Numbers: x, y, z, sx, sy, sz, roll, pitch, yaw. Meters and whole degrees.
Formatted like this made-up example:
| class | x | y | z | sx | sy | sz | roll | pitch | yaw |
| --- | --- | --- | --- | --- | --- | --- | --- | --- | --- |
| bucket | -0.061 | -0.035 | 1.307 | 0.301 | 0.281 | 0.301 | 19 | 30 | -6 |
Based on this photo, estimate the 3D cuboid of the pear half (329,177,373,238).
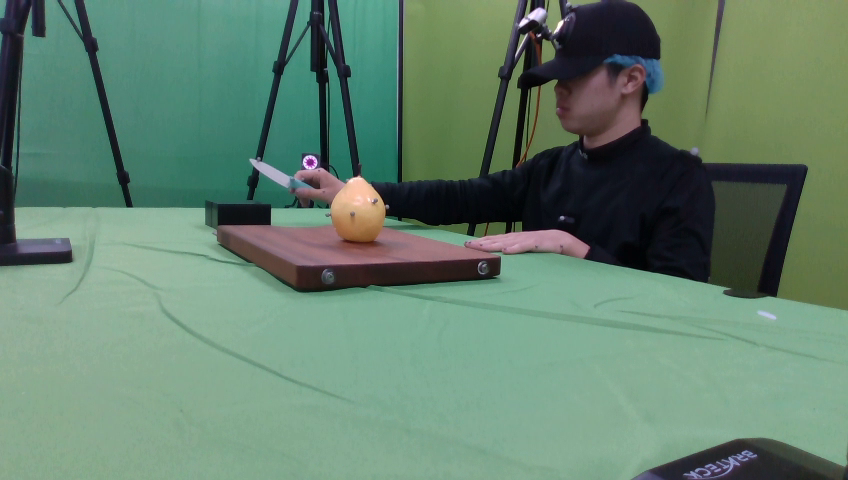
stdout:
| class | x | y | z | sx | sy | sz | roll | pitch | yaw |
| --- | --- | --- | --- | --- | --- | --- | --- | --- | --- |
| pear half | -0.109 | -0.047 | 0.866 | 0.031 | 0.088 | 0.071 | 8 | 12 | 43 |

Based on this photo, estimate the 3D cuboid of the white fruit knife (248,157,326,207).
| class | x | y | z | sx | sy | sz | roll | pitch | yaw |
| --- | --- | --- | --- | --- | --- | --- | --- | --- | --- |
| white fruit knife | -0.267 | -0.116 | 1.202 | 0.016 | 0.027 | 0.208 | 31 | 0 | 42 |

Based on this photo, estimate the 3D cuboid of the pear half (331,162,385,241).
| class | x | y | z | sx | sy | sz | roll | pitch | yaw |
| --- | --- | --- | --- | --- | --- | --- | --- | --- | --- |
| pear half | -0.085 | -0.052 | 0.839 | 0.055 | 0.110 | 0.077 | 9 | 14 | 43 |
